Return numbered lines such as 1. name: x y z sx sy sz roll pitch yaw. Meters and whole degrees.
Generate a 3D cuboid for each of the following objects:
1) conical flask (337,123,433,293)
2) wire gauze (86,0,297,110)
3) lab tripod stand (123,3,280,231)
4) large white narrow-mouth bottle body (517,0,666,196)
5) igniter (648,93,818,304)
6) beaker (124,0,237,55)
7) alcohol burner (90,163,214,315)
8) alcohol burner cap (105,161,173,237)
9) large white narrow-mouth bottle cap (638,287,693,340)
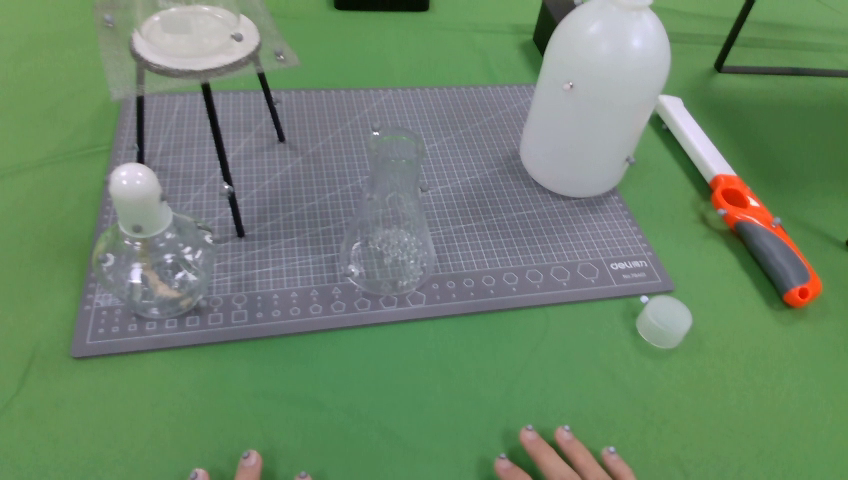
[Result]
1. conical flask: -0.025 -0.024 0.436 0.075 0.123 0.074 4 48 -4
2. wire gauze: -0.166 -0.145 0.428 0.122 0.011 0.124 -17 57 -20
3. lab tripod stand: -0.168 -0.100 0.475 0.148 0.132 0.147 6 48 -6
4. large white narrow-mouth bottle body: 0.145 -0.137 0.513 0.102 0.196 0.101 4 48 -4
5. igniter: 0.283 -0.051 0.574 0.057 0.025 0.273 4 47 -20
6. beaker: -0.164 -0.180 0.392 0.084 0.101 0.073 -10 52 -16
7. alcohol burner: -0.181 -0.004 0.400 0.078 0.120 0.077 5 46 -5
8. alcohol burner cap: -0.177 -0.027 0.373 0.034 0.048 0.033 4 53 -5
9. large white narrow-mouth bottle cap: 0.186 0.057 0.467 0.038 0.024 0.037 4 48 -4
